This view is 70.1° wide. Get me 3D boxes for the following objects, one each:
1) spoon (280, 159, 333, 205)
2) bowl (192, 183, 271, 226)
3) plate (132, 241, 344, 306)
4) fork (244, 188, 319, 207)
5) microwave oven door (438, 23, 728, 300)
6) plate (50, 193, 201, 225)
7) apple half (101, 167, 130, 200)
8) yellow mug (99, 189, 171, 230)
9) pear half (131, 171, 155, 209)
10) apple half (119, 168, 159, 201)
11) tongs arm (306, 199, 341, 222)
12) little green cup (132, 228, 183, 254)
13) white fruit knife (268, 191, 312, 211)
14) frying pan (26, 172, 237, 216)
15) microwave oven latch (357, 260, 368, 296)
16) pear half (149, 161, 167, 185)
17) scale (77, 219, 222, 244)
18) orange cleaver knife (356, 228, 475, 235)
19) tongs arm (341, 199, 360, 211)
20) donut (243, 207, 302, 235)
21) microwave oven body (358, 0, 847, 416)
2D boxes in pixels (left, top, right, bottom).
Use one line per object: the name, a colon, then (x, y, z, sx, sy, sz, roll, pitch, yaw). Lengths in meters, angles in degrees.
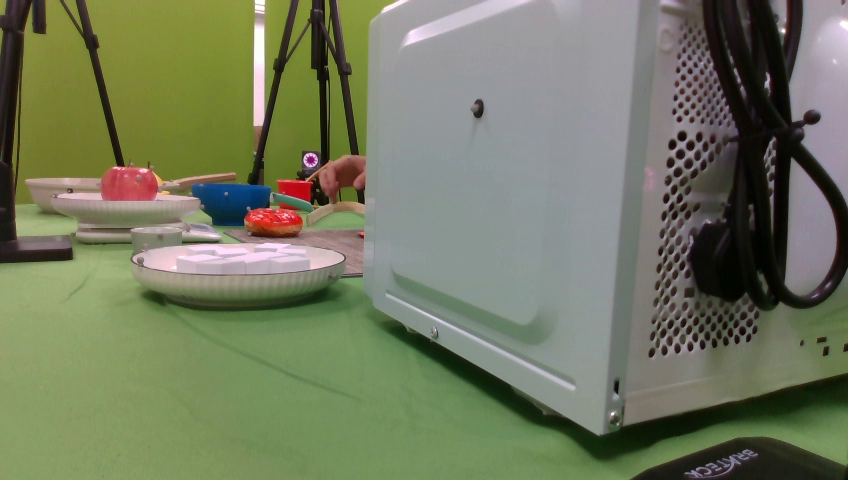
spoon: (-0.317, -0.159, 1.640, 0.194, 0.022, 0.041, -49, 32, -20)
bowl: (-0.382, -0.071, 1.202, 0.151, 0.077, 0.151, 3, 7, 0)
plate: (-0.187, 0.033, 0.625, 0.208, 0.039, 0.207, 2, 7, 0)
fork: (-0.356, -0.105, 1.526, 0.208, 0.018, 0.028, 16, -6, -41)
microwave oven door: (0.181, -0.073, 0.621, 0.358, 0.243, 0.039, -2, 8, -29)
plate: (-0.460, -0.050, 0.944, 0.209, 0.038, 0.209, 2, 7, 0)
apple half: (-0.471, -0.077, 0.948, 0.053, 0.074, 0.081, 1, 10, 15)
yellow mug: (-0.519, -0.055, 1.080, 0.099, 0.064, 0.131, 7, 10, 26)
pear half: (-0.638, -0.113, 1.361, 0.031, 0.088, 0.070, 5, 10, 4)
apple half: (-0.434, -0.076, 0.939, 0.033, 0.081, 0.081, 1, 7, 15)
tongs arm: (-0.234, -0.072, 1.413, 0.028, 0.028, 0.387, -3, 7, 0)
little green cup: (-0.342, 0.006, 0.779, 0.061, 0.038, 0.061, 2, 8, 0)
white fruit knife: (-0.364, -0.105, 1.464, 0.208, 0.027, 0.016, 15, 0, -34)
frying pan: (-0.624, -0.118, 1.387, 0.305, 0.102, 0.490, 8, 17, 32)
microwave oven latch: (-0.019, 0.033, 0.532, 0.079, 0.029, 0.030, -1, 8, -29)
pear half: (-0.602, -0.120, 1.354, 0.056, 0.110, 0.076, 4, 11, 6)
scale: (-0.434, -0.018, 0.963, 0.202, 0.031, 0.148, -1, 9, -27)
orange cleaver knife: (-0.016, -0.015, 1.080, 0.211, 0.012, 0.077, 0, 1, -2)
tongs arm: (-0.148, -0.071, 1.429, 0.051, 0.026, 0.383, -2, 8, -15)
donut: (-0.261, -0.032, 1.043, 0.099, 0.048, 0.099, 4, 9, 0)
microwave oven body: (0.211, -0.047, 0.474, 0.444, 0.260, 0.324, -1, 7, -28)
